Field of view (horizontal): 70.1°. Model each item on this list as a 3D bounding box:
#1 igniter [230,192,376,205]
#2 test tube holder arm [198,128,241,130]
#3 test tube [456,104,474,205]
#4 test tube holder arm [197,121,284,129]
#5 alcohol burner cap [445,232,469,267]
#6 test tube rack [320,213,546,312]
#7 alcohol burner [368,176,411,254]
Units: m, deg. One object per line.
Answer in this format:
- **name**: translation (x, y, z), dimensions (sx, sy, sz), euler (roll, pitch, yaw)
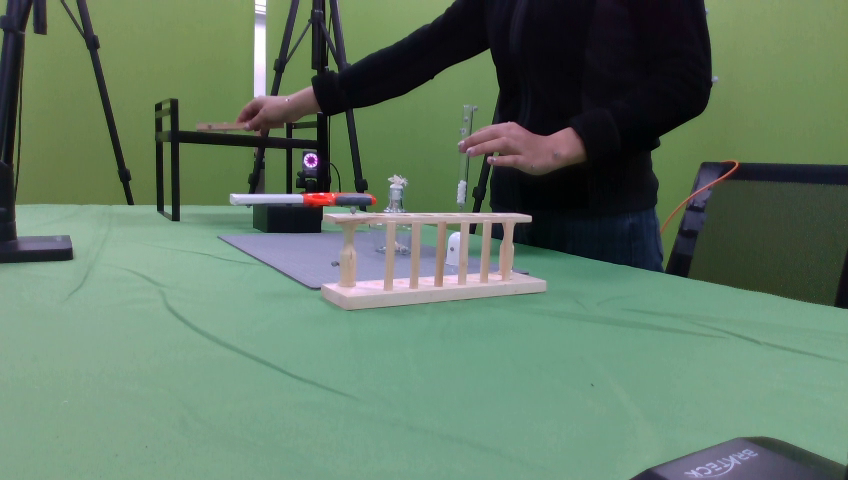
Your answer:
- **igniter**: translation (-0.226, -0.079, 1.161), dimensions (0.278, 0.025, 0.057), euler (-2, 15, -28)
- **test tube holder arm**: translation (-0.437, -0.243, 1.289), dimensions (0.088, 0.015, 0.010), euler (-5, 3, -18)
- **test tube**: translation (0.060, -0.125, 0.893), dimensions (0.017, 0.150, 0.017), euler (4, 16, -1)
- **test tube holder arm**: translation (-0.392, -0.247, 1.298), dimensions (0.179, 0.015, 0.013), euler (-5, 3, -18)
- **alcohol burner cap**: translation (0.045, 0.013, 0.829), dimensions (0.034, 0.048, 0.034), euler (2, 7, 0)
- **test tube rack**: translation (0.018, 0.017, 0.638), dimensions (0.244, 0.085, 0.066), euler (-1, 8, -31)
- **alcohol burner**: translation (-0.045, -0.038, 0.912), dimensions (0.078, 0.119, 0.078), euler (4, 7, 0)
